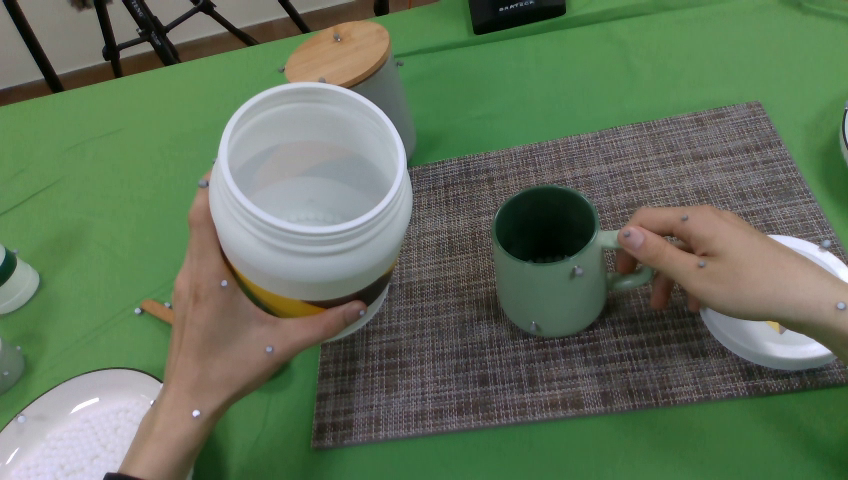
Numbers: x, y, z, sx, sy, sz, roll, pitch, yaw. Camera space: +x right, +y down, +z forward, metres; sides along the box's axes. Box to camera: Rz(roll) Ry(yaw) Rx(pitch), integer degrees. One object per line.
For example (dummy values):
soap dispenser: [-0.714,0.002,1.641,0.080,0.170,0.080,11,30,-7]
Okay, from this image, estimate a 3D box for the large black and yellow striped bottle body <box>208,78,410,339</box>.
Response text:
large black and yellow striped bottle body: [-0.082,-0.015,0.438,0.131,0.185,0.129,5,64,-9]

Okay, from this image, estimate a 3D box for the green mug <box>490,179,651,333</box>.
green mug: [0.115,0.014,0.482,0.125,0.106,0.091,-2,53,14]

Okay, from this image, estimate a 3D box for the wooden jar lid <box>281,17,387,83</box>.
wooden jar lid: [-0.086,-0.179,0.591,0.108,0.021,0.107,-10,50,13]

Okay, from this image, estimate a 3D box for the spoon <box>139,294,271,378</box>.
spoon: [-0.215,0.083,0.580,0.192,0.022,0.041,19,76,27]

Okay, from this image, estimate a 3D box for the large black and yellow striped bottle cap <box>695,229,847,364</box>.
large black and yellow striped bottle cap: [0.275,0.041,0.474,0.115,0.019,0.114,-9,51,11]

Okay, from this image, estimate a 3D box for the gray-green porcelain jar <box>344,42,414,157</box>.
gray-green porcelain jar: [-0.071,-0.138,0.638,0.106,0.128,0.105,-8,48,10]

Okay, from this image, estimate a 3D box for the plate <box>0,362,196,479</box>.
plate: [-0.282,0.203,0.500,0.209,0.038,0.207,-7,52,10]

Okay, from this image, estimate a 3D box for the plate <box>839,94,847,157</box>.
plate: [0.463,-0.083,0.505,0.207,0.039,0.205,-8,52,10]

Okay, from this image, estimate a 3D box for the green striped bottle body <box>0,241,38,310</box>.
green striped bottle body: [-0.478,0.019,0.639,0.063,0.120,0.062,-8,52,11]

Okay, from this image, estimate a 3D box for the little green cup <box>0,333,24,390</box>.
little green cup: [-0.437,0.122,0.603,0.061,0.039,0.061,-8,51,10]
